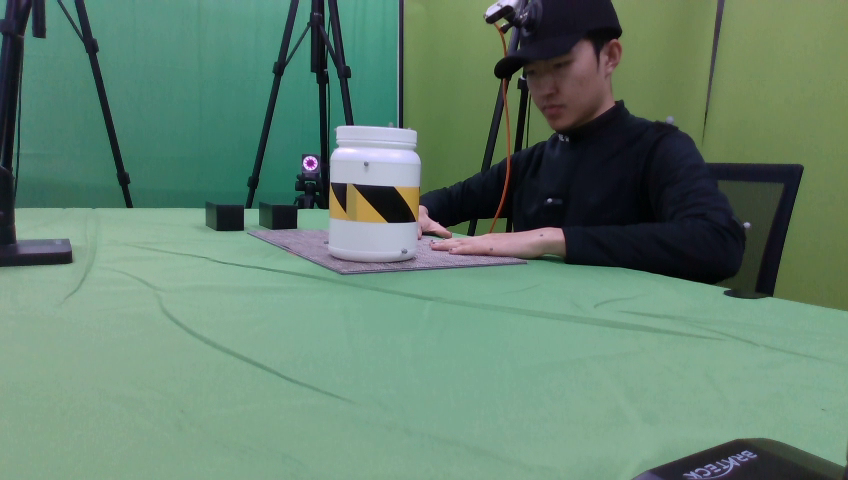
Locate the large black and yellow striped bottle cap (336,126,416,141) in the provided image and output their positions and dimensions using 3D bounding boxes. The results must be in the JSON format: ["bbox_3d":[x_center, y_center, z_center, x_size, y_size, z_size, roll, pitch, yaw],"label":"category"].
[{"bbox_3d":[-0.068,-0.150,0.860,0.115,0.019,0.115,1,6,0],"label":"large black and yellow striped bottle cap"}]

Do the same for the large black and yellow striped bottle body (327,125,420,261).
[{"bbox_3d":[-0.072,-0.069,0.872,0.131,0.184,0.130,2,7,0],"label":"large black and yellow striped bottle body"}]
